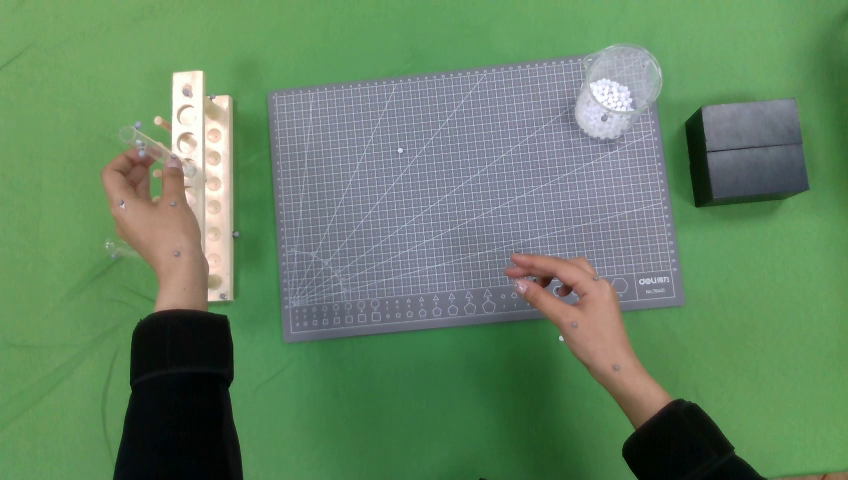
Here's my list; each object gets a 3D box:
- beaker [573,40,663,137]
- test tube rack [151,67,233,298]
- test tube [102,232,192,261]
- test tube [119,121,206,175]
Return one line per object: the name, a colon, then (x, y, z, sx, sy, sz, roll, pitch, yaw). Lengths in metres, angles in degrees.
beaker: (0.199, -0.159, 0.650, 0.084, 0.100, 0.074, 32, 86, 8)
test tube rack: (-0.261, -0.059, 0.674, 0.067, 0.085, 0.241, -3, 83, 3)
test tube: (-0.280, 0.009, 0.622, 0.017, 0.151, 0.017, -1, 82, 5)
test tube: (-0.252, -0.085, 0.596, 0.017, 0.151, 0.017, -1, 81, 4)
